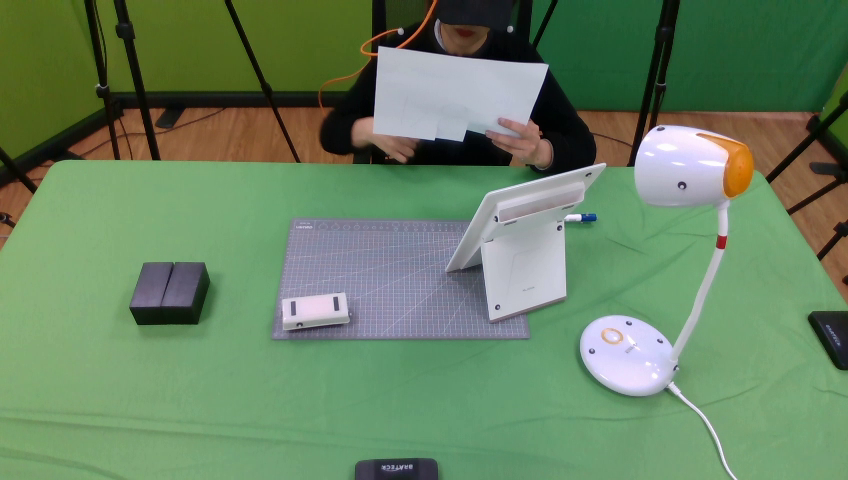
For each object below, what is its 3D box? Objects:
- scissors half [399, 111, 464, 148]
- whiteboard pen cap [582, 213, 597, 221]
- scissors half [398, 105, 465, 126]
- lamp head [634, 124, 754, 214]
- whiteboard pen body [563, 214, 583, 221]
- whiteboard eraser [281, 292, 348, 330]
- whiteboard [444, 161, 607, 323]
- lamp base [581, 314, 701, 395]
[{"bbox_3d":[0.016,-0.239,1.298,0.013,0.175,0.040,-13,83,-55],"label":"scissors half"},{"bbox_3d":[0.342,-0.048,1.260,0.033,0.018,0.018,-2,46,-3],"label":"whiteboard pen cap"},{"bbox_3d":[0.015,-0.262,1.297,0.174,0.040,0.013,17,12,33],"label":"scissors half"},{"bbox_3d":[0.351,-0.089,0.775,0.112,0.113,0.122,-30,30,-28],"label":"lamp head"},{"bbox_3d":[0.283,-0.047,1.257,0.141,0.017,0.017,-1,46,-2],"label":"whiteboard pen body"},{"bbox_3d":[-0.189,0.124,1.045,0.113,0.042,0.055,-6,46,-10],"label":"whiteboard eraser"},{"bbox_3d":[0.186,0.025,1.029,0.217,0.306,0.143,-14,68,-18],"label":"whiteboard"},{"bbox_3d":[0.361,0.144,0.973,0.178,0.181,0.160,34,53,23],"label":"lamp base"}]
